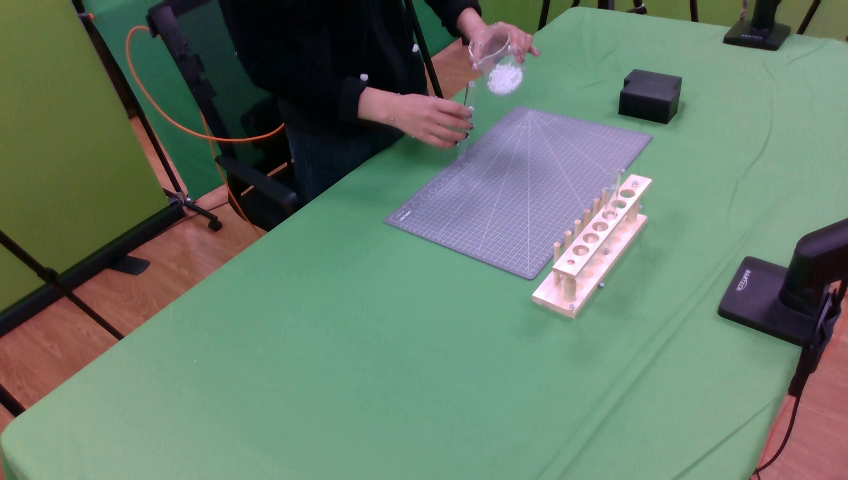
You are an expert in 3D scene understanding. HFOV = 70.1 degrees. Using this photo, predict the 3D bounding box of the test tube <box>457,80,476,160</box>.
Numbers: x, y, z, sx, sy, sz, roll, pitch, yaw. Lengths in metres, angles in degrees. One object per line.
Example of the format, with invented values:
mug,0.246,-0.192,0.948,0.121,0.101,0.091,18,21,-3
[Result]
test tube,0.075,-0.210,1.072,0.017,0.151,0.017,5,34,-3

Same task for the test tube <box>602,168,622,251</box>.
test tube,0.264,-0.039,0.853,0.017,0.151,0.017,-5,44,6

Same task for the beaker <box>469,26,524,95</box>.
beaker,0.129,-0.310,1.066,0.073,0.101,0.084,22,72,37

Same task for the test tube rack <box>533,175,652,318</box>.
test tube rack,0.251,-0.001,0.889,0.066,0.085,0.243,22,49,33
